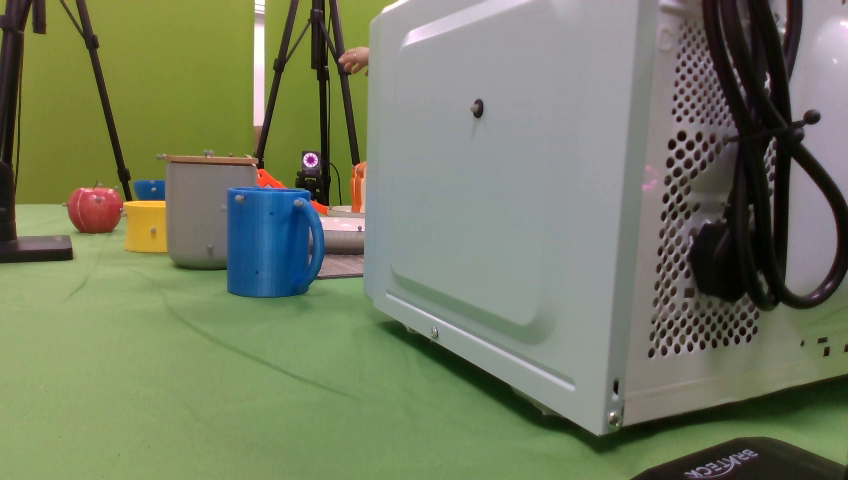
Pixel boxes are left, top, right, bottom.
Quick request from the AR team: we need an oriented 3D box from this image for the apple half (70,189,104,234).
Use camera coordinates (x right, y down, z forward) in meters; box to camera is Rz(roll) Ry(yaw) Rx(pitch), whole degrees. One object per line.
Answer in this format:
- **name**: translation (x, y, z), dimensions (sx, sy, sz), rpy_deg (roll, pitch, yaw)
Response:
- **apple half**: translation (-0.552, -0.048, 1.010), dimensions (0.053, 0.074, 0.081), rpy_deg (-1, 9, 26)

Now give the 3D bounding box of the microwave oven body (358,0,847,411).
- **microwave oven body**: translation (0.210, -0.051, 0.472), dimensions (0.444, 0.260, 0.324), rpy_deg (-1, 8, -28)

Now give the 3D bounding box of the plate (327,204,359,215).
- **plate**: translation (-0.102, -0.053, 1.299), dimensions (0.209, 0.038, 0.209), rpy_deg (2, 7, 0)

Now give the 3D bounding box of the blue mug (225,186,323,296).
- **blue mug**: translation (-0.148, 0.000, 0.618), dimensions (0.116, 0.106, 0.083), rpy_deg (7, 9, 33)

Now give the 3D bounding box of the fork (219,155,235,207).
- **fork**: translation (-0.459, -0.134, 1.415), dimensions (0.028, 0.018, 0.207), rpy_deg (-1, -34, -24)

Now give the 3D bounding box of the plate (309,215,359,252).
- **plate**: translation (-0.130, -0.011, 0.945), dimensions (0.208, 0.039, 0.207), rpy_deg (2, 8, 0)

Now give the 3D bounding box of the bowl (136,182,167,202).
- **bowl**: translation (-0.497, -0.076, 1.221), dimensions (0.151, 0.077, 0.151), rpy_deg (2, 8, 0)

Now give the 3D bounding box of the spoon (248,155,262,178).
- **spoon**: translation (-0.417, -0.150, 1.543), dimensions (0.042, 0.193, 0.021), rpy_deg (-4, -35, -34)

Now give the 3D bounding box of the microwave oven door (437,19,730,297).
- **microwave oven door**: translation (0.181, -0.076, 0.618), dimensions (0.358, 0.243, 0.039), rpy_deg (-2, 9, -28)

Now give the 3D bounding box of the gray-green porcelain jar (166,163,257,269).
- **gray-green porcelain jar**: translation (-0.263, -0.031, 0.754), dimensions (0.106, 0.126, 0.106), rpy_deg (2, 7, 0)

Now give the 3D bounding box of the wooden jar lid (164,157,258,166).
- **wooden jar lid**: translation (-0.261, -0.093, 0.746), dimensions (0.108, 0.020, 0.108), rpy_deg (0, 9, 0)

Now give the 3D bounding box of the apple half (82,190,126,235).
- **apple half**: translation (-0.516, -0.046, 0.994), dimensions (0.032, 0.081, 0.081), rpy_deg (0, 6, 26)

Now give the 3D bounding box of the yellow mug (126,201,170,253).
- **yellow mug**: translation (-0.361, -0.019, 0.866), dimensions (0.130, 0.064, 0.100), rpy_deg (6, 9, 27)

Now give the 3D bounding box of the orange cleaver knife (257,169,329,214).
- **orange cleaver knife**: translation (-0.286, -0.082, 1.300), dimensions (0.212, 0.077, 0.012), rpy_deg (26, -6, -31)

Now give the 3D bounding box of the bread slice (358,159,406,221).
- **bread slice**: translation (-0.089, -0.106, 1.278), dimensions (0.105, 0.131, 0.019), rpy_deg (-1, 0, -24)

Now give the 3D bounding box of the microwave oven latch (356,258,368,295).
- **microwave oven latch**: translation (-0.019, 0.030, 0.529), dimensions (0.079, 0.029, 0.030), rpy_deg (-1, 7, -26)

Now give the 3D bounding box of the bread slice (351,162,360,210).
- **bread slice**: translation (-0.107, -0.112, 1.328), dimensions (0.107, 0.134, 0.018), rpy_deg (0, -2, -27)

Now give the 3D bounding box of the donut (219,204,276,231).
- **donut**: translation (-0.316, -0.039, 1.083), dimensions (0.099, 0.048, 0.099), rpy_deg (2, 6, 0)
